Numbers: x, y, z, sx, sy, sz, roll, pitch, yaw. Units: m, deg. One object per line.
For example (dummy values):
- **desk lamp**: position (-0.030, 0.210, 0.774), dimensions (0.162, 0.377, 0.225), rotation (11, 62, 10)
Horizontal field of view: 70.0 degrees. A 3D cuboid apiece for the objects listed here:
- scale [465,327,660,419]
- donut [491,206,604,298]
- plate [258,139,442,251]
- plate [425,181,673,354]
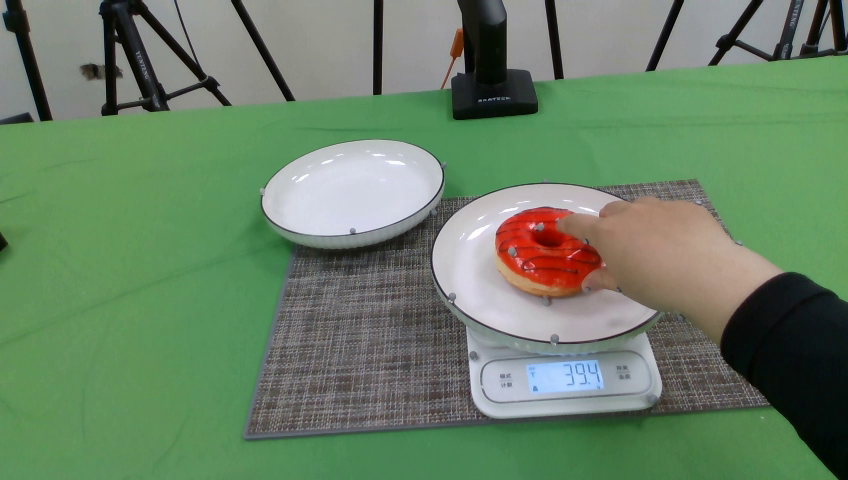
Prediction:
- **scale**: position (0.109, 0.062, 0.534), dimensions (0.148, 0.032, 0.199), rotation (-5, 40, 3)
- **donut**: position (0.107, 0.010, 0.527), dimensions (0.099, 0.049, 0.098), rotation (-1, 41, 2)
- **plate**: position (-0.082, -0.051, 0.695), dimensions (0.209, 0.038, 0.207), rotation (-5, 38, 4)
- **plate**: position (0.106, 0.023, 0.531), dimensions (0.207, 0.039, 0.205), rotation (-3, 40, 3)
